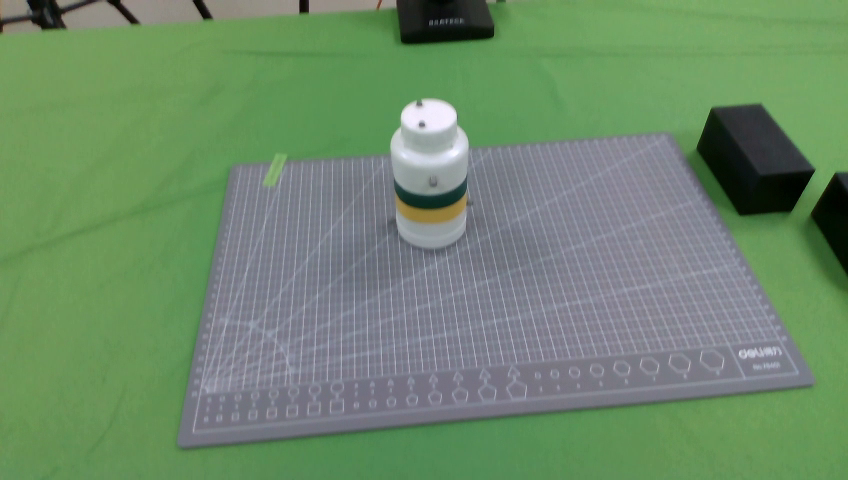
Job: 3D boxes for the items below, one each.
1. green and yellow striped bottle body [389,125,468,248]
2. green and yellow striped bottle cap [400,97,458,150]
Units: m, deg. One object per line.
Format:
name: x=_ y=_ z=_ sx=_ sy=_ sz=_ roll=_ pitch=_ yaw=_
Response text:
green and yellow striped bottle body: x=0.004 y=-0.054 z=0.501 sx=0.063 sy=0.121 sz=0.062 roll=-1 pitch=48 yaw=1
green and yellow striped bottle cap: x=0.004 y=-0.089 z=0.463 sx=0.045 sy=0.020 sz=0.045 roll=-1 pitch=49 yaw=2
